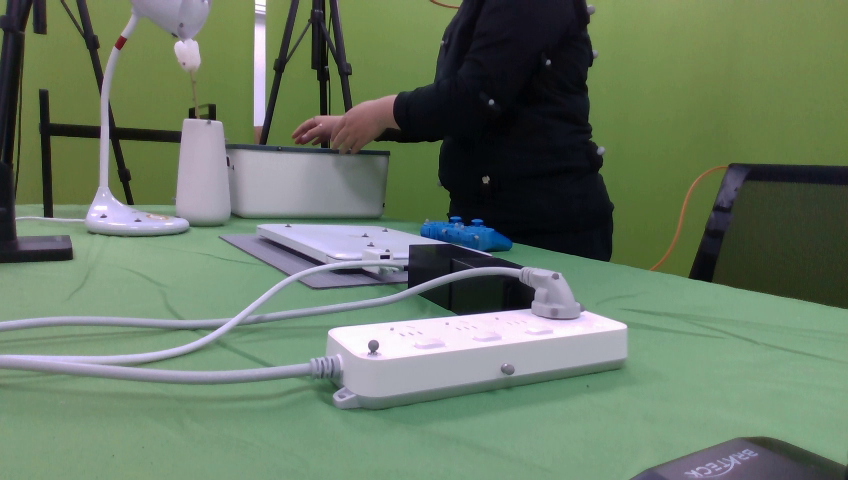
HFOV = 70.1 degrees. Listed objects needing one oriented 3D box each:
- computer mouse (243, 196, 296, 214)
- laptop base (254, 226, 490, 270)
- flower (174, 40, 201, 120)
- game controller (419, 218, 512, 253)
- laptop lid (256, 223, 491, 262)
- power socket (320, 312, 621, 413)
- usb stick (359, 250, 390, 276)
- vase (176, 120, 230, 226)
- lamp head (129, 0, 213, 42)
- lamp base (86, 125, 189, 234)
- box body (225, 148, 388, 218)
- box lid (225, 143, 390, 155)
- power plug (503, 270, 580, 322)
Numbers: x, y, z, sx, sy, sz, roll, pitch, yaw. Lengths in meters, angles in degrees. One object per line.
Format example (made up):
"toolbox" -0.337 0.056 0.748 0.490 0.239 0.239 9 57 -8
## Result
"computer mouse" -0.362 -0.082 1.416 0.117 0.041 0.063 -3 10 5
"laptop base" -0.095 0.011 0.912 0.237 0.023 0.352 3 6 -32
"flower" -0.430 -0.211 1.166 0.044 0.361 0.038 -10 -5 -23
"game controller" 0.063 -0.009 1.028 0.154 0.051 0.097 9 15 43
"laptop lid" -0.092 0.000 0.912 0.243 0.013 0.355 1 7 -30
"power socket" 0.038 0.075 0.409 0.228 0.032 0.072 -2 8 -29
"usb stick" -0.061 0.026 0.709 0.021 0.027 0.059 -2 3 -29
"vase" -0.424 -0.128 1.159 0.098 0.200 0.098 2 9 0
"lamp head" -0.423 -0.394 0.980 0.123 0.112 0.112 20 7 -3
"lamp base" -0.497 -0.105 1.027 0.179 0.180 0.160 1 7 3
"box body" -0.298 -0.143 1.474 0.366 0.160 0.253 -1 9 -30
"box lid" -0.296 -0.217 1.463 0.373 0.015 0.262 -2 9 -29
"power plug" 0.091 0.051 0.469 0.035 0.052 0.072 -1 6 -18
